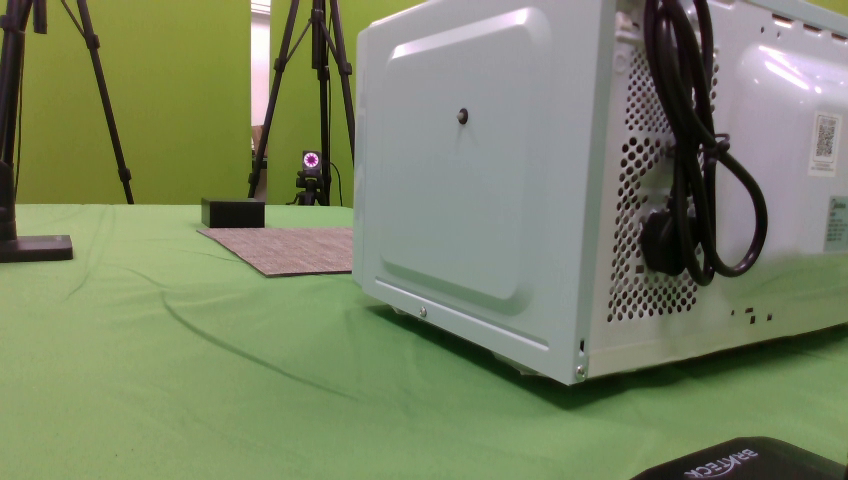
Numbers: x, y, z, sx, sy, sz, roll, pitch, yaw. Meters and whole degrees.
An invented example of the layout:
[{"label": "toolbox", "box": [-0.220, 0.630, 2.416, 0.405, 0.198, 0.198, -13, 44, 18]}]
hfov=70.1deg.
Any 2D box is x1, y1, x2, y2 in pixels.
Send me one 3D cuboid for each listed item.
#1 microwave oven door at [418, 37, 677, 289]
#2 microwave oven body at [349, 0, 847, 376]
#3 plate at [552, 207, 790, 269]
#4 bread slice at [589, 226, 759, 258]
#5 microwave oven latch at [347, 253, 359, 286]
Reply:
[{"label": "microwave oven door", "box": [0.159, -0.079, 0.684, 0.358, 0.243, 0.039, -2, 9, -32]}, {"label": "microwave oven body", "box": [0.199, -0.053, 0.540, 0.444, 0.260, 0.324, -1, 8, -32]}, {"label": "plate", "box": [0.225, -0.004, 0.572, 0.209, 0.038, 0.209, 4, 7, 0]}, {"label": "bread slice", "box": [0.226, 0.001, 0.568, 0.132, 0.019, 0.104, 3, 5, -23]}, {"label": "microwave oven latch", "box": [-0.034, 0.028, 0.581, 0.079, 0.029, 0.030, -1, 7, -31]}]
